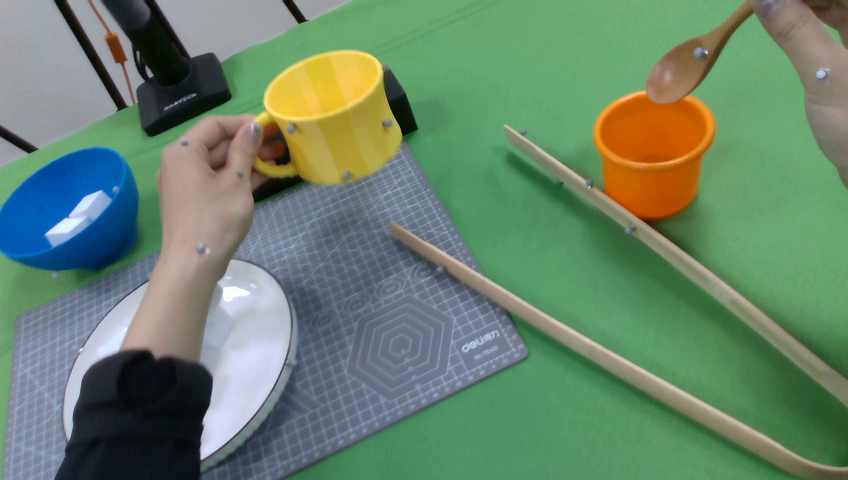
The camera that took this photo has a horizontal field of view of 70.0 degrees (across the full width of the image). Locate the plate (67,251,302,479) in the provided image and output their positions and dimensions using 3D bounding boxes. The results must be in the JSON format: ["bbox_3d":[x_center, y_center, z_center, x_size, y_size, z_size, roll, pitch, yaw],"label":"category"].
[{"bbox_3d":[-0.199,0.103,0.521,0.207,0.039,0.205,-9,51,12],"label":"plate"}]

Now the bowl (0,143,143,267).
[{"bbox_3d":[-0.360,-0.024,0.650,0.151,0.077,0.150,-9,51,12],"label":"bowl"}]

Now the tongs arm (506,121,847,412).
[{"bbox_3d":[0.172,0.013,0.477,0.051,0.027,0.380,-35,52,-13],"label":"tongs arm"}]

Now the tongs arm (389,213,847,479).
[{"bbox_3d":[0.111,0.063,0.457,0.384,0.028,0.028,30,62,32],"label":"tongs arm"}]

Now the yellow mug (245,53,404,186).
[{"bbox_3d":[-0.086,-0.095,0.501,0.131,0.064,0.099,-30,45,-13],"label":"yellow mug"}]

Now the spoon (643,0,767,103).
[{"bbox_3d":[0.183,-0.129,0.341,0.022,0.194,0.041,6,77,-9],"label":"spoon"}]
